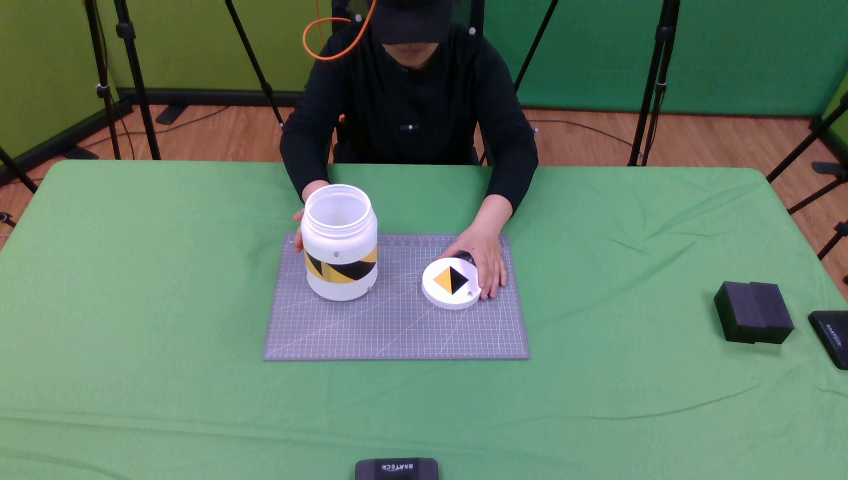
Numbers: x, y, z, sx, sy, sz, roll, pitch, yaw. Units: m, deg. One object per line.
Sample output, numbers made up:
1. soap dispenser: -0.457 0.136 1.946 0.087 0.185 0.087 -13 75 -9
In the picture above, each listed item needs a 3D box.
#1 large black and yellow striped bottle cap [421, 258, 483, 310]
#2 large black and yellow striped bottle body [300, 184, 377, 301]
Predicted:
1. large black and yellow striped bottle cap: 0.053 0.081 1.126 0.115 0.019 0.114 1 46 -1
2. large black and yellow striped bottle body: -0.148 0.004 1.067 0.131 0.185 0.130 2 46 -2
